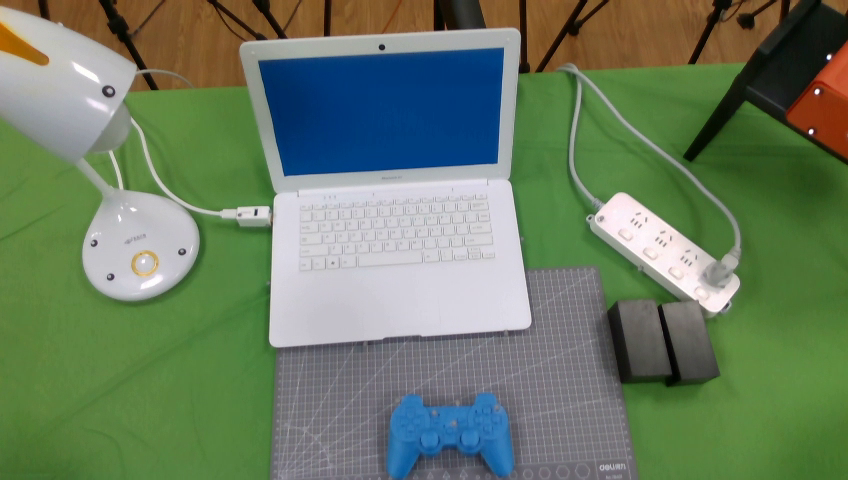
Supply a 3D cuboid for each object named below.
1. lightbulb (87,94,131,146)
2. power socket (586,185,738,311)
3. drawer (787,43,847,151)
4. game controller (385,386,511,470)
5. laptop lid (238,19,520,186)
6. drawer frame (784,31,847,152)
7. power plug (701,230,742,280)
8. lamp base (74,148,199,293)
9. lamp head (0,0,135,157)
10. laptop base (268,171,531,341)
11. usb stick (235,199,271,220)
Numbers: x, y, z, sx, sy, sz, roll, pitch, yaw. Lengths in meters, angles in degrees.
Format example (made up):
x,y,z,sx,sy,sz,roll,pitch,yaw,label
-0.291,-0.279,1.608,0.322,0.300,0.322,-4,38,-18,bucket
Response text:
x,y,z,sx,sy,sz,roll,pitch,yaw,label
-0.315,-0.130,0.540,0.059,0.109,0.059,-23,44,25,lightbulb
0.334,0.009,0.854,0.225,0.033,0.072,42,72,16,power socket
0.578,-0.179,0.715,0.193,0.074,0.211,40,71,16,drawer
0.029,0.229,0.745,0.155,0.052,0.096,0,61,-1,game controller
-0.052,-0.177,0.825,0.357,0.244,0.013,-5,42,-1,laptop lid
0.580,-0.183,0.715,0.200,0.083,0.213,40,71,16,drawer frame
0.408,0.027,0.821,0.072,0.053,0.035,-34,70,-16,power plug
-0.407,-0.041,0.789,0.160,0.181,0.178,-33,68,-14,lamp base
-0.337,-0.149,0.527,0.124,0.112,0.112,32,62,-33,lamp head
-0.039,0.017,0.856,0.354,0.023,0.233,-4,69,-2,laptop base
-0.237,-0.044,0.868,0.059,0.027,0.021,1,61,-4,usb stick
